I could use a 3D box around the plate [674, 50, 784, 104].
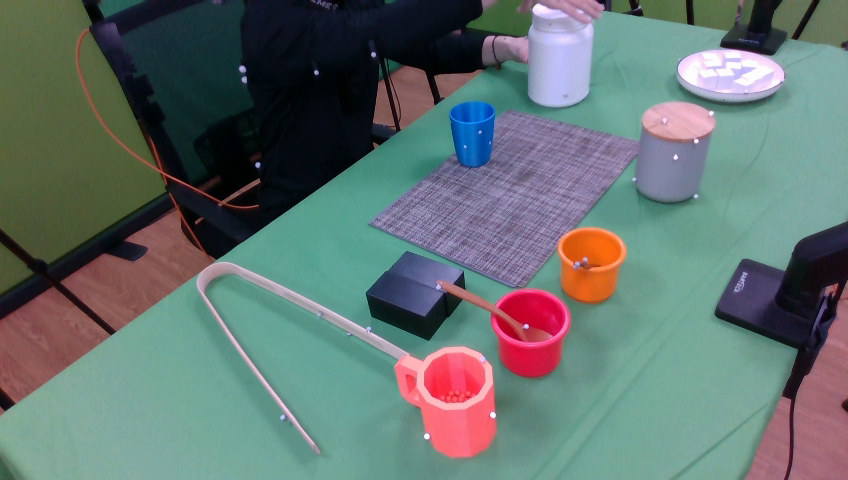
[{"bbox_3d":[0.631,-0.336,1.262,0.207,0.039,0.206,-4,41,4],"label":"plate"}]

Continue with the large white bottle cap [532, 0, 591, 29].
[{"bbox_3d":[0.273,-0.450,1.203,0.115,0.018,0.114,-4,41,4],"label":"large white bottle cap"}]

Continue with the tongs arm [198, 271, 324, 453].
[{"bbox_3d":[-0.236,0.154,0.831,0.028,0.028,0.384,-37,48,-18],"label":"tongs arm"}]

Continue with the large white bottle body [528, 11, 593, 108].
[{"bbox_3d":[0.282,-0.386,1.259,0.130,0.185,0.130,-4,41,4],"label":"large white bottle body"}]

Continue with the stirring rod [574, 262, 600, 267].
[{"bbox_3d":[0.222,0.033,0.816,0.014,0.006,0.177,7,0,22],"label":"stirring rod"}]

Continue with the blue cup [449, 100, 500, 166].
[{"bbox_3d":[0.092,-0.194,1.123,0.092,0.100,0.092,-3,40,3],"label":"blue cup"}]

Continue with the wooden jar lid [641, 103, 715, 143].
[{"bbox_3d":[0.398,-0.180,0.952,0.108,0.021,0.108,-4,43,4],"label":"wooden jar lid"}]

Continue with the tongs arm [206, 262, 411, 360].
[{"bbox_3d":[-0.179,0.106,0.870,0.381,0.027,0.051,23,55,32],"label":"tongs arm"}]

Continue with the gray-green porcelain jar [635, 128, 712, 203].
[{"bbox_3d":[0.404,-0.133,0.992,0.106,0.127,0.105,-4,40,4],"label":"gray-green porcelain jar"}]

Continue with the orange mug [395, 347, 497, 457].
[{"bbox_3d":[0.024,0.180,0.703,0.125,0.101,0.083,21,48,23],"label":"orange mug"}]

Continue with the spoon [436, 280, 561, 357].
[{"bbox_3d":[0.096,0.095,0.758,0.195,0.021,0.041,34,41,-20],"label":"spoon"}]
